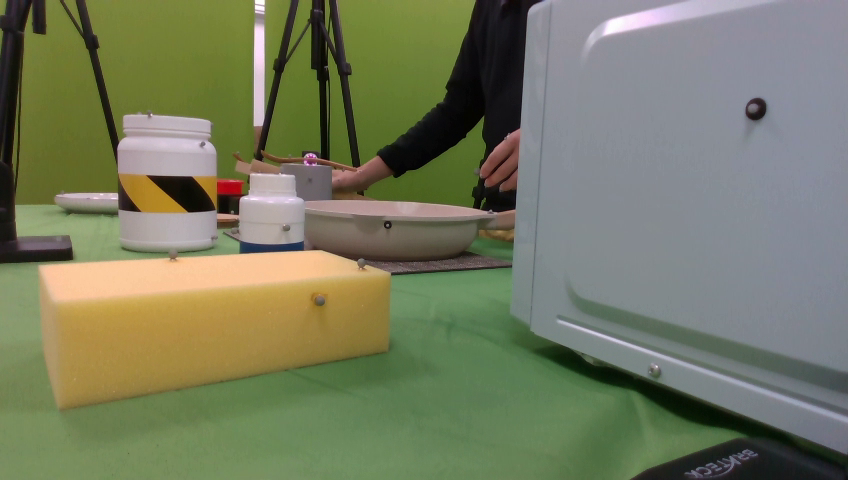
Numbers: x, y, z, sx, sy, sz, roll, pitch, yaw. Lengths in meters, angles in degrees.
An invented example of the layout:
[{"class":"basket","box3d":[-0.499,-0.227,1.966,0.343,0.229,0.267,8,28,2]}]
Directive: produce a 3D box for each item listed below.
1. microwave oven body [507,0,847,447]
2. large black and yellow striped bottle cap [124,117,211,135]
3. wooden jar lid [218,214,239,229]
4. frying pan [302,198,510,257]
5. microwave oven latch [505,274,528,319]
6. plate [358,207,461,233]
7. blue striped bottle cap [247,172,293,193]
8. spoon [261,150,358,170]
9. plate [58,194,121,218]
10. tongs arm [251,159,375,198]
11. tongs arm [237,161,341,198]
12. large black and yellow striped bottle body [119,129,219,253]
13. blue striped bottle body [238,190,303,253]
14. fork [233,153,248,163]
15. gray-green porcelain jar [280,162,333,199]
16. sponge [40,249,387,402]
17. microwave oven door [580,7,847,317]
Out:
[{"class":"microwave oven body","box3d":[0.331,-0.042,0.425,0.444,0.260,0.324,-2,8,-31]},{"class":"large black and yellow striped bottle cap","box3d":[-0.366,-0.163,0.866,0.115,0.019,0.115,3,7,0]},{"class":"wooden jar lid","box3d":[-0.404,-0.037,1.169,0.108,0.020,0.108,3,7,0]},{"class":"frying pan","box3d":[0.051,-0.035,0.915,0.487,0.102,0.307,-5,7,10]},{"class":"microwave oven latch","box3d":[0.100,0.041,0.471,0.079,0.029,0.030,-1,8,-28]},{"class":"plate","box3d":[-0.030,-0.041,1.213,0.208,0.039,0.207,3,7,0]},{"class":"blue striped bottle cap","box3d":[-0.152,-0.057,0.598,0.044,0.020,0.044,3,7,0]},{"class":"spoon","box3d":[-0.229,-0.161,1.222,0.194,0.021,0.041,4,4,-16]},{"class":"plate","box3d":[-0.671,-0.074,1.310,0.209,0.038,0.209,2,8,0]},{"class":"tongs arm","box3d":[-0.213,-0.115,1.383,0.387,0.026,0.050,16,-5,-33]},{"class":"tongs arm","box3d":[-0.248,-0.120,1.444,0.389,0.027,0.028,15,-8,-23]},{"class":"large black and yellow striped bottle body","box3d":[-0.367,-0.080,0.876,0.131,0.184,0.130,1,7,0]},{"class":"blue striped bottle body","box3d":[-0.153,-0.007,0.606,0.063,0.120,0.063,2,8,0]},{"class":"fork","box3d":[-0.396,-0.143,1.486,0.028,0.018,0.208,20,-26,45]},{"class":"gray-green porcelain jar","box3d":[-0.238,-0.092,1.221,0.106,0.126,0.106,2,7,0]},{"class":"sponge","box3d":[-0.142,0.047,0.420,0.208,0.061,0.117,-3,8,-36]},{"class":"microwave oven door","box3d":[0.295,-0.067,0.570,0.358,0.243,0.039,-3,9,-31]}]
